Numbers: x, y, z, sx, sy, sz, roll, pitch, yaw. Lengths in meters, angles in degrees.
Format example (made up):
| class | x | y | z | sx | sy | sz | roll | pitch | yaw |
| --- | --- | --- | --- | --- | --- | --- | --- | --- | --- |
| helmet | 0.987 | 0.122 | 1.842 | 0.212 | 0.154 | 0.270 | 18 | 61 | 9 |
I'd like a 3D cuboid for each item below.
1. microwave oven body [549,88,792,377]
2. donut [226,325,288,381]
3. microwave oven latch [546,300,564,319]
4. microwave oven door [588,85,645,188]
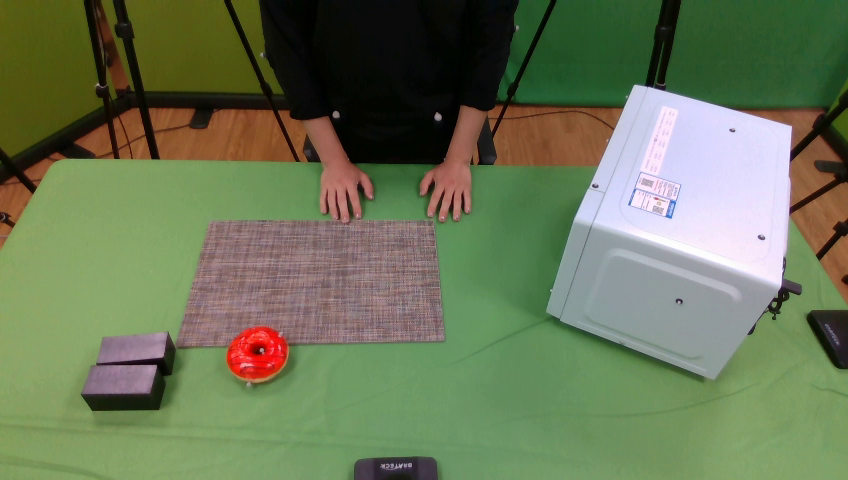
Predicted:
| class | x | y | z | sx | sy | sz | roll | pitch | yaw |
| --- | --- | --- | --- | --- | --- | --- | --- | --- | --- |
| microwave oven body | 0.456 | -0.028 | 1.088 | 0.325 | 0.261 | 0.440 | 20 | 47 | 16 |
| donut | -0.270 | 0.182 | 0.984 | 0.099 | 0.048 | 0.098 | 5 | 49 | -5 |
| microwave oven latch | 0.242 | 0.102 | 1.081 | 0.030 | 0.029 | 0.079 | 21 | 48 | 17 |
| microwave oven door | 0.342 | -0.107 | 1.149 | 0.039 | 0.245 | 0.354 | 20 | 48 | 15 |
